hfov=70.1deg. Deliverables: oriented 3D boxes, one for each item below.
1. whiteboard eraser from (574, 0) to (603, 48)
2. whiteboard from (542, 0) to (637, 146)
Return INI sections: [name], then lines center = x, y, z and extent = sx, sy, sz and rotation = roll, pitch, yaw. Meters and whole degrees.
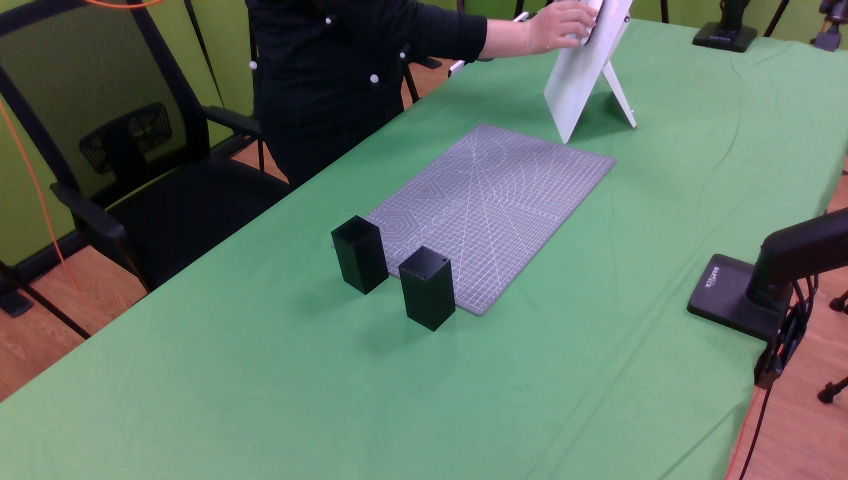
[whiteboard eraser]
center = 0.299, -0.403, 1.102
extent = 0.019, 0.101, 0.041
rotation = 12, 30, -10
[whiteboard]
center = 0.365, -0.351, 1.160
extent = 0.144, 0.306, 0.216
rotation = 9, 39, -10
